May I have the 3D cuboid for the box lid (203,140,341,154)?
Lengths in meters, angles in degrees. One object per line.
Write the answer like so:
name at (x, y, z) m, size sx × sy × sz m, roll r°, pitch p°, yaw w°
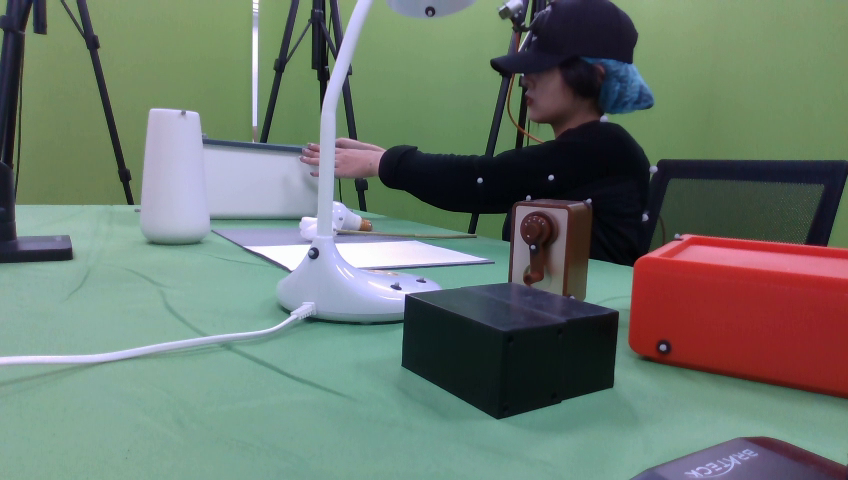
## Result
box lid at (-0.397, -0.214, 1.376) m, size 0.373 × 0.015 × 0.262 m, roll 0°, pitch 10°, yaw -29°

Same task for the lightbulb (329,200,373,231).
lightbulb at (-0.143, -0.036, 1.109) m, size 0.108 × 0.059 × 0.059 m, roll 16°, pitch 0°, yaw -28°

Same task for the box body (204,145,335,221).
box body at (-0.411, -0.135, 1.386) m, size 0.366 × 0.160 × 0.253 m, roll -2°, pitch 9°, yaw -29°

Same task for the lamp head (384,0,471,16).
lamp head at (-0.001, -0.301, 0.599) m, size 0.112 × 0.112 × 0.123 m, roll 4°, pitch -30°, yaw 14°

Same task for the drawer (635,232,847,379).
drawer at (0.292, 0.045, 0.488) m, size 0.193 × 0.073 × 0.213 m, roll 7°, pitch 9°, yaw 30°

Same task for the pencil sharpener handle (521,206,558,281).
pencil sharpener handle at (0.101, 0.003, 0.555) m, size 0.036 × 0.067 × 0.031 m, roll 0°, pitch 5°, yaw 31°

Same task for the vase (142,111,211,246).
vase at (-0.378, -0.093, 0.920) m, size 0.098 × 0.200 × 0.098 m, roll 2°, pitch 9°, yaw 0°

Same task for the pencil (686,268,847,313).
pencil at (0.308, 0.045, 0.516) m, size 0.194 × 0.012 × 0.012 m, roll 13°, pitch 5°, yaw -12°

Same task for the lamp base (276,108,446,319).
lamp base at (-0.061, -0.027, 0.556) m, size 0.160 × 0.180 × 0.180 m, roll 4°, pitch 10°, yaw 20°

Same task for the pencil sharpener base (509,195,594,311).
pencil sharpener base at (0.126, 0.011, 0.601) m, size 0.061 × 0.107 × 0.077 m, roll 7°, pitch 9°, yaw 30°

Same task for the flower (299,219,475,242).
flower at (-0.049, -0.010, 1.081) m, size 0.364 × 0.038 × 0.044 m, roll 2°, pitch 36°, yaw -36°

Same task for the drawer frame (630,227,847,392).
drawer frame at (0.292, 0.043, 0.484) m, size 0.201 × 0.082 × 0.214 m, roll 7°, pitch 9°, yaw 29°
